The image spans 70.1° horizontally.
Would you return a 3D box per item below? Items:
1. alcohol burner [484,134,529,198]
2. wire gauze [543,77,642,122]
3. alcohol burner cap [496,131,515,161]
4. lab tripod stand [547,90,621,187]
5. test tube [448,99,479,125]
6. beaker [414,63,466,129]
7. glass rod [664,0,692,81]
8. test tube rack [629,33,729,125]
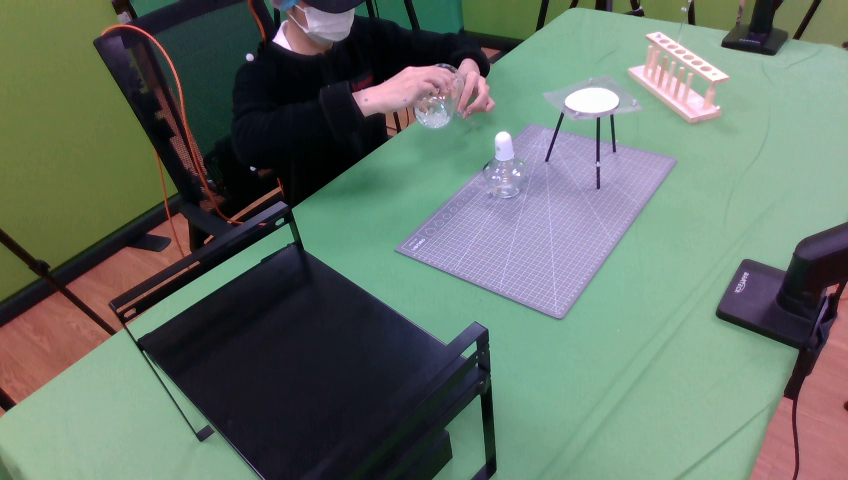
[{"bbox_3d":[0.141,-0.133,1.041,0.078,0.119,0.077,-4,43,5],"label":"alcohol burner"},{"bbox_3d":[0.282,-0.236,1.020,0.125,0.011,0.120,-15,40,-6],"label":"wire gauze"},{"bbox_3d":[0.135,-0.160,1.019,0.034,0.048,0.033,-8,37,6],"label":"alcohol burner cap"},{"bbox_3d":[0.289,-0.184,1.062,0.148,0.132,0.147,-6,41,6],"label":"lab tripod stand"},{"bbox_3d":[0.079,-0.246,1.175,0.017,0.017,0.151,12,1,22],"label":"test tube"},{"bbox_3d":[0.027,-0.246,1.052,0.073,0.084,0.100,-3,43,24],"label":"beaker"},{"bbox_3d":[0.524,-0.419,1.240,0.008,0.200,0.008,1,42,-1],"label":"glass rod"},{"bbox_3d":[0.516,-0.337,1.247,0.067,0.085,0.240,-14,41,-7],"label":"test tube rack"}]
